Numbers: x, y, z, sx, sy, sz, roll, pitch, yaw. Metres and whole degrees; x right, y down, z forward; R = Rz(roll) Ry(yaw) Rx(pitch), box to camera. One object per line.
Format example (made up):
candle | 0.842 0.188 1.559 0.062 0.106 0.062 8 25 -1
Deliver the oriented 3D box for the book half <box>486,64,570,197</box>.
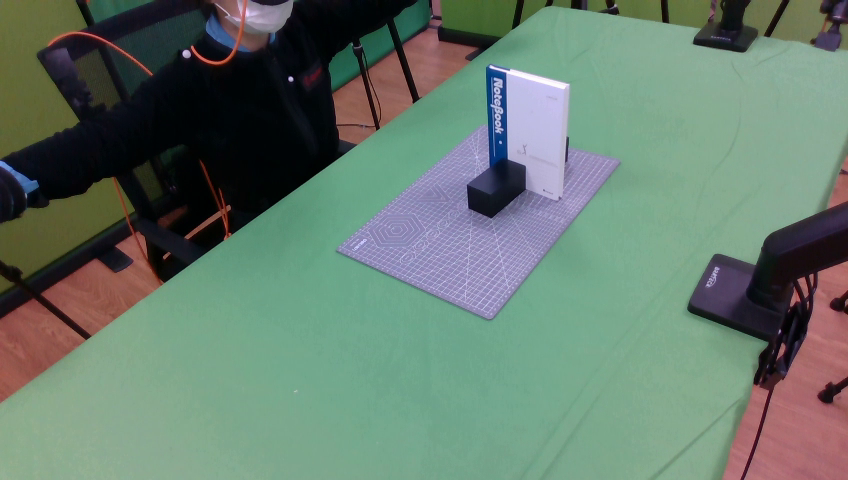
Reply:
book half | 0.170 -0.176 1.000 0.147 0.211 0.016 26 51 33

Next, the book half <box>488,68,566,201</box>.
book half | 0.167 -0.171 0.995 0.142 0.211 0.007 27 52 34
